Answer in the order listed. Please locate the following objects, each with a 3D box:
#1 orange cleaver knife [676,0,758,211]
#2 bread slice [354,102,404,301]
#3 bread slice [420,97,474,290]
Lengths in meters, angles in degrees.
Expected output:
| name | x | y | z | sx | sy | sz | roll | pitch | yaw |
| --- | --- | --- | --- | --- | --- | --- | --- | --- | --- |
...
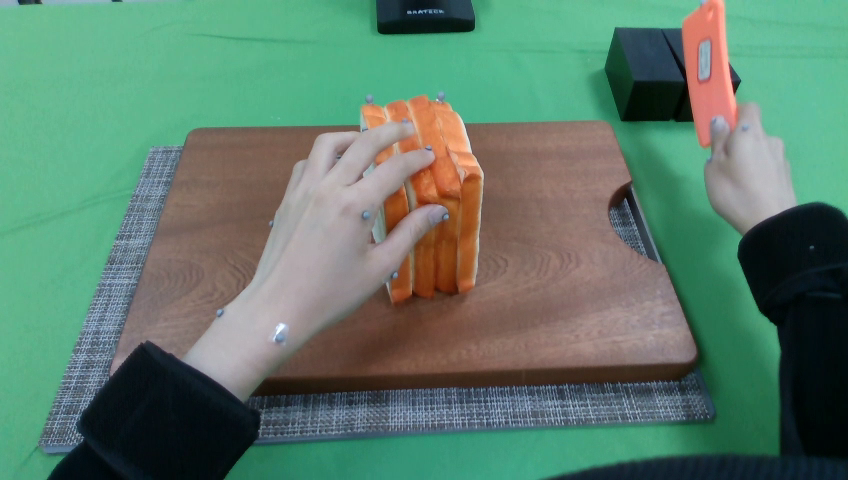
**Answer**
| name | x | y | z | sx | sy | sz | roll | pitch | yaw |
| --- | --- | --- | --- | --- | --- | --- | --- | --- | --- |
| orange cleaver knife | 0.248 | -0.119 | 0.524 | 0.012 | 0.077 | 0.210 | -2 | 75 | -5 |
| bread slice | -0.035 | -0.036 | 0.445 | 0.018 | 0.108 | 0.133 | -7 | 41 | -11 |
| bread slice | 0.015 | -0.045 | 0.450 | 0.019 | 0.106 | 0.130 | -6 | 43 | -7 |
